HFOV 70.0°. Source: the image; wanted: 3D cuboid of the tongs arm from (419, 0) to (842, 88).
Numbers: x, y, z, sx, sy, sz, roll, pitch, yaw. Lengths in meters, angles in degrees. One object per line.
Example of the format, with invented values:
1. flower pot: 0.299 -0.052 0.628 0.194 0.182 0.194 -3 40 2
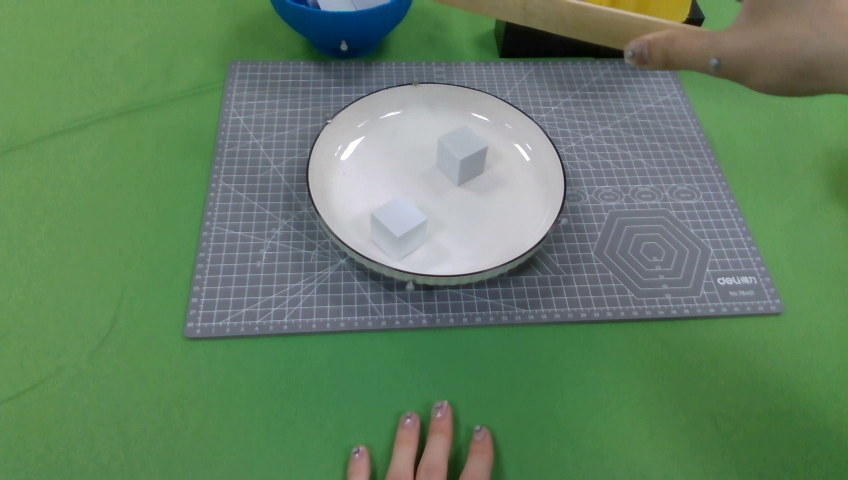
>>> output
1. tongs arm: 0.046 -0.158 0.388 0.384 0.028 0.028 25 62 25

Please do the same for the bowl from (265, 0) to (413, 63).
1. bowl: -0.082 -0.231 0.603 0.151 0.077 0.150 2 55 -2

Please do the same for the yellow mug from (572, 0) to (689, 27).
1. yellow mug: 0.201 -0.254 0.583 0.131 0.064 0.099 -15 57 -13

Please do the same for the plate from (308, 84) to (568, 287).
1. plate: 0.012 -0.046 0.499 0.208 0.039 0.205 2 55 -2

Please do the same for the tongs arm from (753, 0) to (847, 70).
1. tongs arm: 0.093 -0.210 0.409 0.381 0.027 0.050 36 70 29
